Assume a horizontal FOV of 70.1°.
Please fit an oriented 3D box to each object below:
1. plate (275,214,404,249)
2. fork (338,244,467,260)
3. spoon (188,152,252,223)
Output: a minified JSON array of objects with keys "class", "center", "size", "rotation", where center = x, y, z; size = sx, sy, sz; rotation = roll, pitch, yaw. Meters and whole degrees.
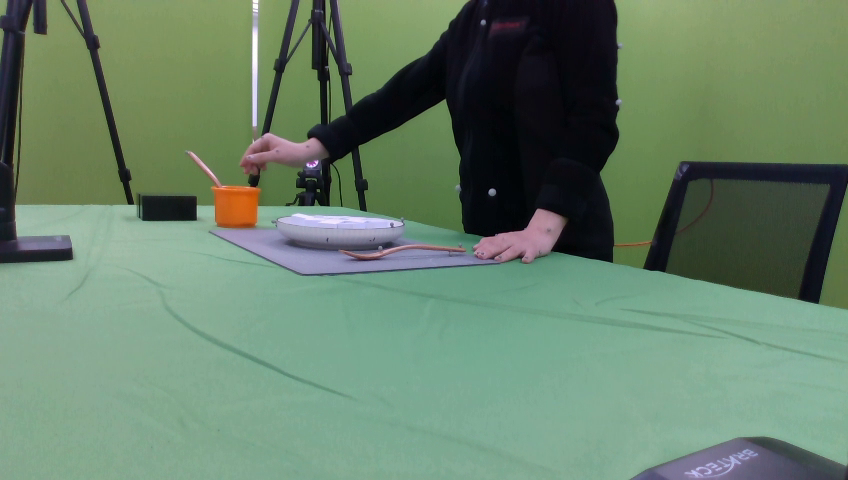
[{"class":"plate","center":[-0.135,-0.013,0.982],"size":[0.208,0.039,0.207],"rotation":[3,7,0]},{"class":"fork","center":[-0.024,0.016,0.865],"size":[0.208,0.018,0.028],"rotation":[-4,5,-31]},{"class":"spoon","center":[-0.400,-0.103,1.179],"size":[0.021,0.193,0.042],"rotation":[-43,-11,28]}]
